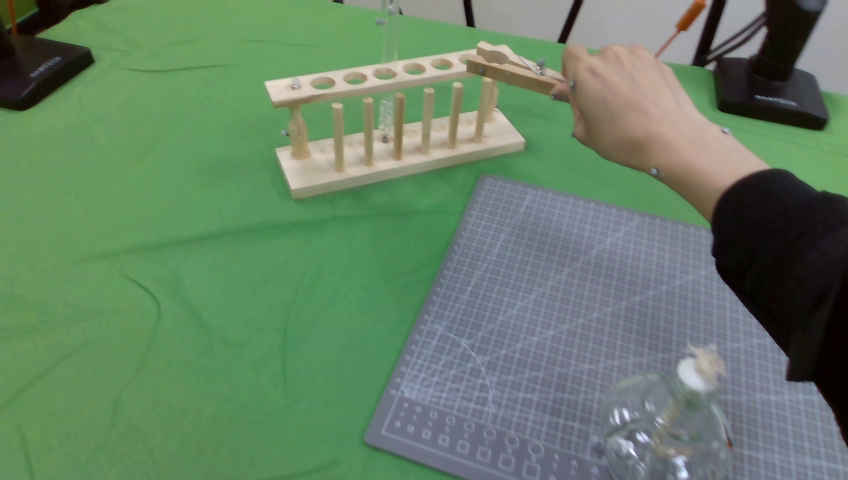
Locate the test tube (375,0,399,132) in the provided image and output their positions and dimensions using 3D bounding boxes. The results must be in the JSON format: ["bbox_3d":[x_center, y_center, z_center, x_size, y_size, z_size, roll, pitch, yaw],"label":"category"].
[{"bbox_3d":[-0.035,-0.164,0.555,0.017,0.151,0.017,4,43,-4],"label":"test tube"}]

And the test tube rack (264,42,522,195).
[{"bbox_3d":[-0.021,-0.120,0.582,0.243,0.086,0.066,-14,49,-18],"label":"test tube rack"}]

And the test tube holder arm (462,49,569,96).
[{"bbox_3d":[0.071,-0.131,0.473,0.087,0.015,0.010,20,62,16],"label":"test tube holder arm"}]

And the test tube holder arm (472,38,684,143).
[{"bbox_3d":[0.112,-0.116,0.461,0.177,0.015,0.013,29,66,20],"label":"test tube holder arm"}]

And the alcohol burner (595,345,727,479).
[{"bbox_3d":[0.143,0.099,0.356,0.078,0.120,0.077,1,47,-1],"label":"alcohol burner"}]
